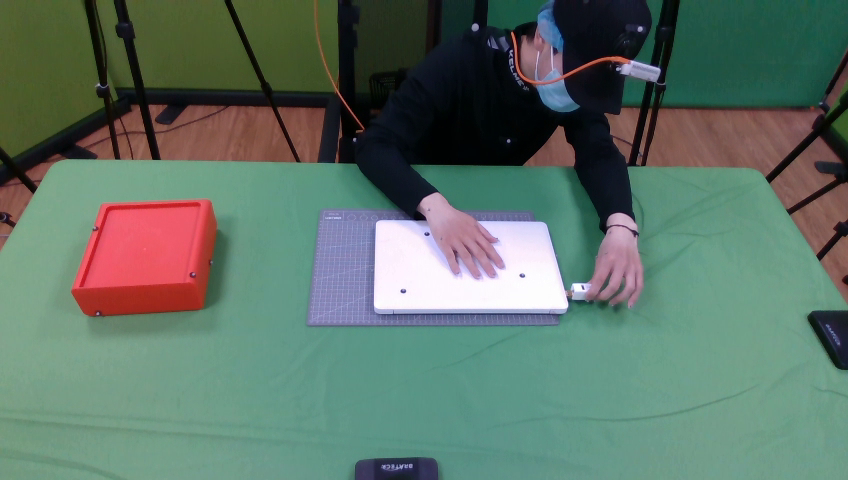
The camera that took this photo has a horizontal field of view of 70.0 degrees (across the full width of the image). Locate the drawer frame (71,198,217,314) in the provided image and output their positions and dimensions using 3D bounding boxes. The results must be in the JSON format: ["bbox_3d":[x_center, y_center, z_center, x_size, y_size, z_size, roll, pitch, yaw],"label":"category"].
[{"bbox_3d":[-0.493,0.024,1.096,0.202,0.083,0.212,-3,47,-8],"label":"drawer frame"}]

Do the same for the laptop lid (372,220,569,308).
[{"bbox_3d":[0.081,0.040,1.152,0.357,0.013,0.240,2,44,-3],"label":"laptop lid"}]

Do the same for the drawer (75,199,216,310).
[{"bbox_3d":[-0.494,0.022,1.097,0.195,0.073,0.210,-2,47,-8],"label":"drawer"}]

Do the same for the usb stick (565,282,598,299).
[{"bbox_3d":[0.286,0.092,1.110,0.059,0.027,0.021,-3,46,-2],"label":"usb stick"}]

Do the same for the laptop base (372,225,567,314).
[{"bbox_3d":[0.080,0.050,1.159,0.355,0.023,0.234,0,43,-4],"label":"laptop base"}]
